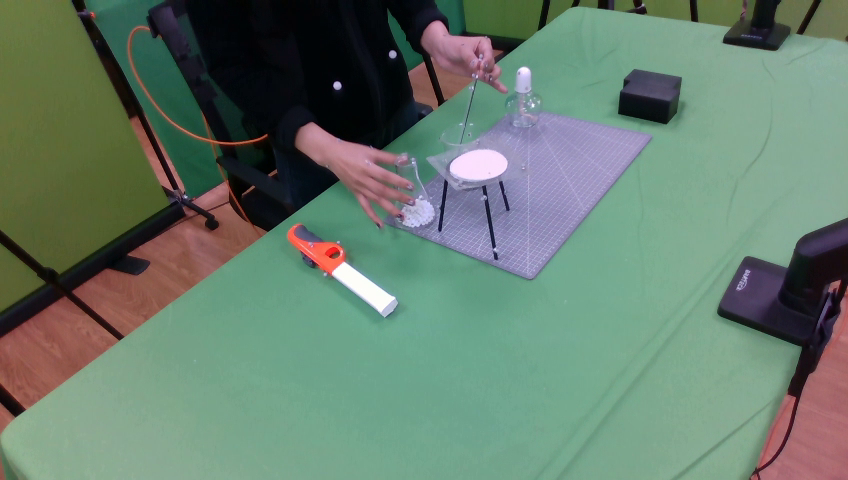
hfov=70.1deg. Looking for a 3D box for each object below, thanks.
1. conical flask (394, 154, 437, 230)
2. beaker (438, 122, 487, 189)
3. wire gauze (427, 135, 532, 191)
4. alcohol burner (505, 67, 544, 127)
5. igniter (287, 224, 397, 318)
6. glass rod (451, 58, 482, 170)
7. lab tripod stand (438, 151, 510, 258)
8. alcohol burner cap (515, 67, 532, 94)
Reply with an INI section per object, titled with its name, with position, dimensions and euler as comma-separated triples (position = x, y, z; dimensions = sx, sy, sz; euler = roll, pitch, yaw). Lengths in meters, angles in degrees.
[conical flask]
position = -0.022, -0.082, 1.003
dimensions = 0.075, 0.122, 0.075
euler = -6, 40, 5
[beaker]
position = 0.072, -0.147, 1.080
dimensions = 0.084, 0.101, 0.073
euler = -5, 40, 7
[wire gauze]
position = 0.081, -0.115, 0.909
dimensions = 0.125, 0.011, 0.120
euler = -18, 39, -11
[alcohol burner]
position = 0.201, -0.288, 1.211
dimensions = 0.078, 0.119, 0.077
euler = -6, 38, 5
[igniter]
position = -0.139, 0.042, 0.958
dimensions = 0.057, 0.025, 0.274
euler = -42, 49, -19
[glass rod]
position = 0.070, -0.210, 1.028
dimensions = 0.008, 0.200, 0.008
euler = 11, 28, -6
[lab tripod stand]
position = 0.087, -0.064, 0.952
dimensions = 0.148, 0.132, 0.147
euler = -6, 38, 5
[alcohol burner cap]
position = 0.197, -0.315, 1.187
dimensions = 0.034, 0.048, 0.033
euler = -3, 46, 3
